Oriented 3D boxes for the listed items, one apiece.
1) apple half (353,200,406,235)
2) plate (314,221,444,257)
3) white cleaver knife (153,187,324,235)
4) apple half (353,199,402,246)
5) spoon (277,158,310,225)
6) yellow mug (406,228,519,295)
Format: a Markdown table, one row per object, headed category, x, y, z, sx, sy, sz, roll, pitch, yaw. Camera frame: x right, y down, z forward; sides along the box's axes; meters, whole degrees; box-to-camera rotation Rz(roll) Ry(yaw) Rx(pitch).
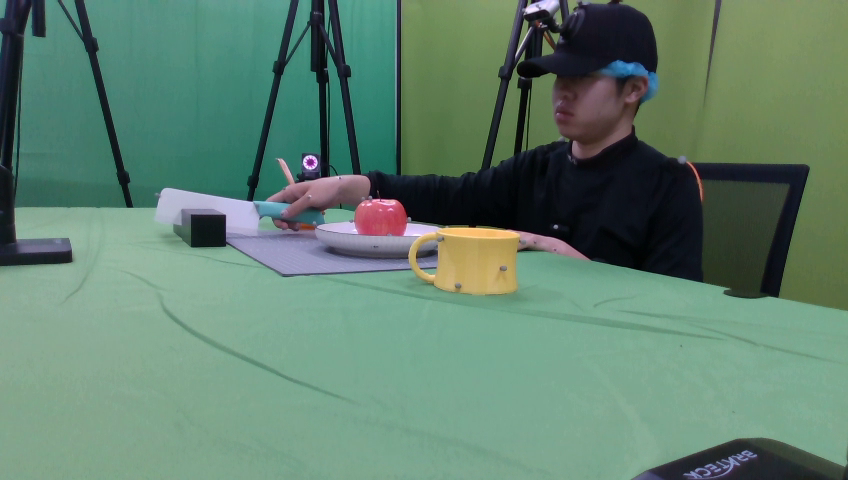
| category | x | y | z | sx | sy | sz | roll | pitch | yaw |
| --- | --- | --- | --- | --- | --- | --- | --- | --- | --- |
| apple half | -0.064 | -0.023 | 0.909 | 0.081 | 0.074 | 0.053 | 4 | 11 | -17 |
| plate | -0.067 | -0.002 | 0.948 | 0.209 | 0.038 | 0.209 | 3 | 7 | 0 |
| white cleaver knife | -0.312 | -0.042 | 1.050 | 0.288 | 0.066 | 0.021 | 7 | 9 | -28 |
| apple half | -0.076 | -0.029 | 0.946 | 0.081 | 0.081 | 0.032 | 0 | 13 | -18 |
| spoon | -0.272 | -0.103 | 1.260 | 0.042 | 0.193 | 0.021 | -5 | -34 | -33 |
| yellow mug | 0.044 | 0.022 | 0.707 | 0.131 | 0.064 | 0.100 | 2 | 7 | 5 |
